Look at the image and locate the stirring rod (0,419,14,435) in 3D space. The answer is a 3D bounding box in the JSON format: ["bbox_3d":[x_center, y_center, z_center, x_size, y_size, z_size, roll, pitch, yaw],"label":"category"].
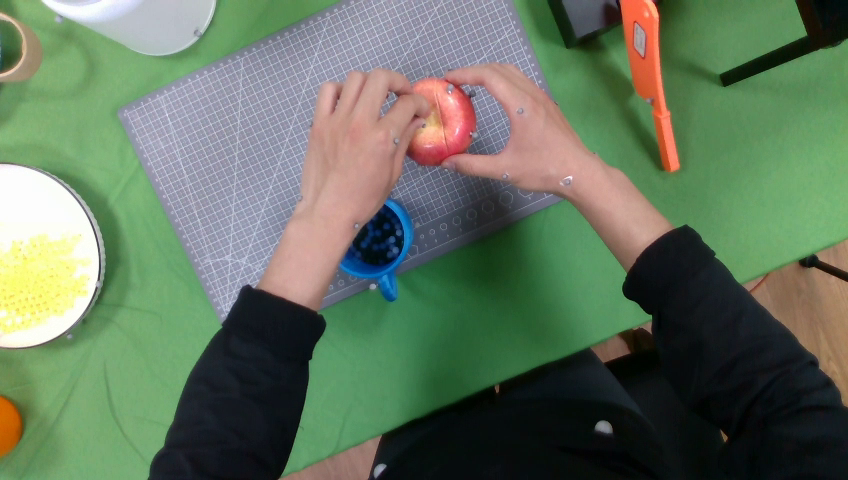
[{"bbox_3d":[-0.544,0.238,0.652,0.176,0.006,0.014,-20,83,-38],"label":"stirring rod"}]

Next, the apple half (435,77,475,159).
[{"bbox_3d":[0.032,-0.118,0.573,0.033,0.081,0.081,-11,95,10],"label":"apple half"}]

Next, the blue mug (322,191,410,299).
[{"bbox_3d":[-0.053,0.006,0.641,0.082,0.105,0.116,-16,95,2],"label":"blue mug"}]

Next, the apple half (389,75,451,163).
[{"bbox_3d":[-0.006,-0.111,0.576,0.053,0.074,0.081,-11,99,9],"label":"apple half"}]

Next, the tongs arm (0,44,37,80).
[{"bbox_3d":[-0.600,-0.190,0.632,0.385,0.026,0.051,4,92,2],"label":"tongs arm"}]

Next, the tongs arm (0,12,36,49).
[{"bbox_3d":[-0.586,-0.272,0.625,0.387,0.028,0.028,18,89,1],"label":"tongs arm"}]

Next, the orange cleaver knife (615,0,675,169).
[{"bbox_3d":[0.229,-0.170,0.632,0.012,0.076,0.213,-25,125,2],"label":"orange cleaver knife"}]

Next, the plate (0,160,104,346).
[{"bbox_3d":[-0.461,0.014,0.683,0.209,0.038,0.209,0,96,1],"label":"plate"}]

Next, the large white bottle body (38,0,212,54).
[{"bbox_3d":[-0.298,-0.264,0.580,0.130,0.184,0.130,0,94,1],"label":"large white bottle body"}]

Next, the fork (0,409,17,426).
[{"bbox_3d":[-0.560,0.223,0.648,0.208,0.018,0.028,-11,95,-42],"label":"fork"}]
